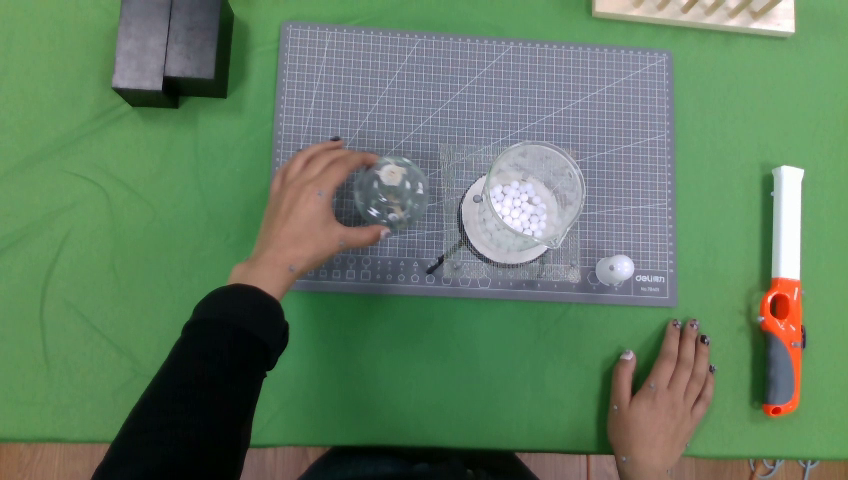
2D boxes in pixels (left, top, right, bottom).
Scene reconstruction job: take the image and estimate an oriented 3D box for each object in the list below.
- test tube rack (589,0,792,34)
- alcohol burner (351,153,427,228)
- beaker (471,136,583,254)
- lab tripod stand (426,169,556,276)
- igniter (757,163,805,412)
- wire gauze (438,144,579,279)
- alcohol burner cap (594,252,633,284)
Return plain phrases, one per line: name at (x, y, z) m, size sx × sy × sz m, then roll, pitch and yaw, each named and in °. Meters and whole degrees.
test tube rack at (0.319, -0.294, 0.684) m, size 0.242 × 0.085 × 0.066 m, roll 4°, pitch 81°, yaw -3°
alcohol burner at (-0.034, -0.054, 0.605) m, size 0.078 × 0.119 × 0.077 m, roll 1°, pitch 78°, yaw -4°
beaker at (0.078, -0.027, 0.485) m, size 0.074 × 0.100 × 0.083 m, roll -20°, pitch 82°, yaw -6°
lab tripod stand at (0.068, -0.014, 0.598) m, size 0.148 × 0.132 × 0.148 m, roll 0°, pitch 81°, yaw -2°
igniter at (0.396, 0.050, 0.670) m, size 0.057 × 0.025 × 0.275 m, roll 8°, pitch 82°, yaw -13°
wire gauze at (0.074, -0.027, 0.534) m, size 0.125 × 0.011 × 0.121 m, roll 1°, pitch 80°, yaw -2°
alcohol burner cap at (0.205, 0.029, 0.649) m, size 0.034 × 0.048 × 0.033 m, roll 0°, pitch 80°, yaw -3°
